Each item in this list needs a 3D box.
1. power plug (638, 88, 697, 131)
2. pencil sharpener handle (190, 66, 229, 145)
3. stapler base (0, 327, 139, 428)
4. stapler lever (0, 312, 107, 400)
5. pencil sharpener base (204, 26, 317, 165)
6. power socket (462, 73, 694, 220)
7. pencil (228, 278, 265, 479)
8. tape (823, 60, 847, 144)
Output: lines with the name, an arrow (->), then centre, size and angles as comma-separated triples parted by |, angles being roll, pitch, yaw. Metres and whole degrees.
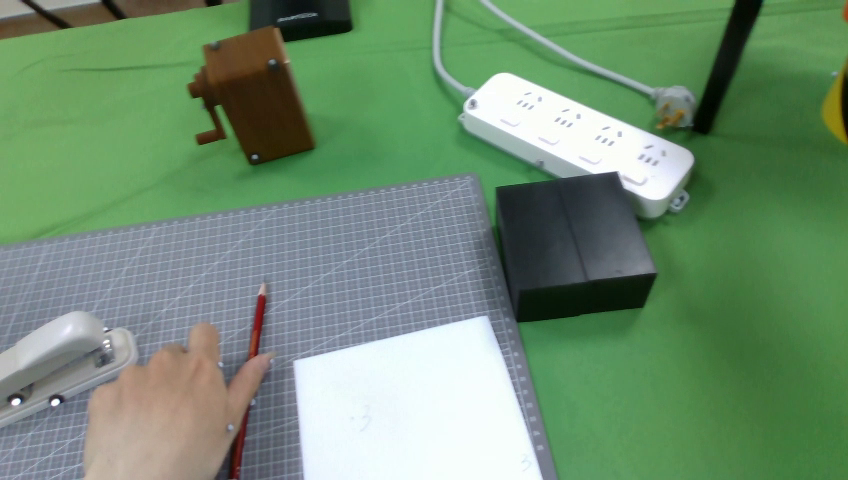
power plug -> 0.229, -0.123, 0.586 | 0.052, 0.035, 0.072 | -37, 21, -23
pencil sharpener handle -> -0.200, -0.120, 0.549 | 0.031, 0.068, 0.035 | -18, 33, -7
stapler base -> -0.287, 0.103, 0.461 | 0.130, 0.025, 0.041 | -25, 55, -11
stapler lever -> -0.291, 0.090, 0.440 | 0.118, 0.040, 0.026 | -24, 54, -12
pencil sharpener base -> -0.153, -0.132, 0.570 | 0.077, 0.108, 0.060 | -18, 55, -7
power socket -> 0.137, -0.091, 0.559 | 0.225, 0.033, 0.072 | 32, 62, 26
pencil -> -0.131, 0.109, 0.449 | 0.012, 0.012, 0.192 | -4, 54, 3
tape -> 0.432, -0.127, 0.545 | 0.117, 0.053, 0.115 | -3, 54, 4
